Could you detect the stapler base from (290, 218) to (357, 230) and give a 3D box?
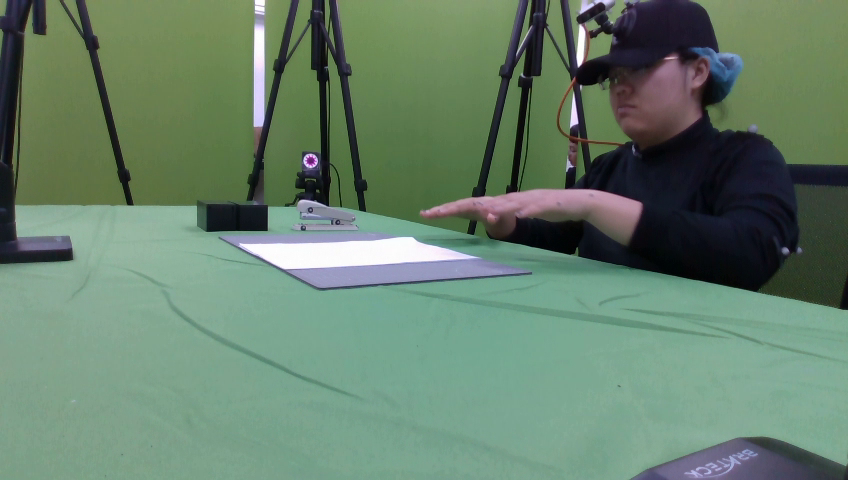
[{"bbox_3d":[-0.199,-0.033,1.201,0.131,0.024,0.041,2,9,-25],"label":"stapler base"}]

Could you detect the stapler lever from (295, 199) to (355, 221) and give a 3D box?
[{"bbox_3d":[-0.196,-0.058,1.199,0.118,0.040,0.026,2,10,-25],"label":"stapler lever"}]
